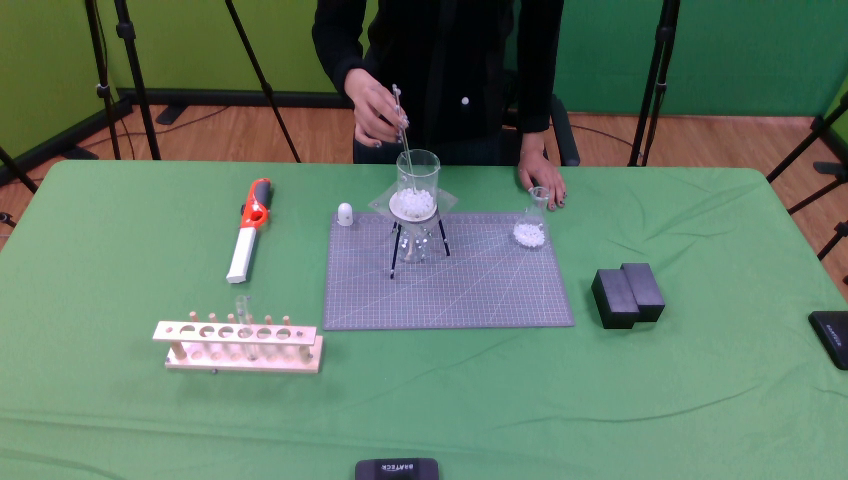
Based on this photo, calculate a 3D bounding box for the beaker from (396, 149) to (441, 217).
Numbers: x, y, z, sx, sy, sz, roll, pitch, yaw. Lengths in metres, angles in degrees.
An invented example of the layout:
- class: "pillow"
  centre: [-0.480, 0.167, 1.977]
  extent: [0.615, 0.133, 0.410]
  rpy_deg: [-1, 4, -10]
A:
- class: "beaker"
  centre: [-0.015, -0.098, 1.053]
  extent: [0.074, 0.101, 0.083]
  rpy_deg: [-31, 55, -30]

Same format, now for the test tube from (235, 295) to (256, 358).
- class: "test tube"
  centre: [-0.274, 0.136, 0.933]
  extent: [0.017, 0.151, 0.017]
  rpy_deg: [4, 46, -4]

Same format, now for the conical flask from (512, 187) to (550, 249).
- class: "conical flask"
  centre: [0.217, -0.048, 1.190]
  extent: [0.075, 0.122, 0.075]
  rpy_deg: [2, 46, -2]

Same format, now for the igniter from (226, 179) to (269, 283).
- class: "igniter"
  centre: [-0.345, -0.027, 1.195]
  extent: [0.057, 0.025, 0.274]
  rpy_deg: [-6, 46, 5]

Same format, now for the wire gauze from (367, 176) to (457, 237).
- class: "wire gauze"
  centre: [-0.020, -0.066, 1.089]
  extent: [0.124, 0.011, 0.121]
  rpy_deg: [27, 47, 22]

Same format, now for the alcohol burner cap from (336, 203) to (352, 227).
- class: "alcohol burner cap"
  centre: [-0.162, -0.053, 1.221]
  extent: [0.034, 0.048, 0.033]
  rpy_deg: [2, 47, -2]

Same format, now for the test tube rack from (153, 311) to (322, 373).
- class: "test tube rack"
  centre: [-0.293, 0.160, 0.978]
  extent: [0.242, 0.085, 0.066]
  rpy_deg: [3, 46, -2]

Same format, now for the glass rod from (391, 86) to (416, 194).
- class: "glass rod"
  centre: [-0.031, -0.154, 0.970]
  extent: [0.008, 0.201, 0.008]
  rpy_deg: [-7, 40, 6]

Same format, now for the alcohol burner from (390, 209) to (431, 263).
- class: "alcohol burner"
  centre: [-0.024, -0.014, 1.144]
  extent: [0.078, 0.119, 0.077]
  rpy_deg: [4, 45, -3]

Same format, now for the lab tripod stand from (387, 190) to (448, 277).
- class: "lab tripod stand"
  centre: [-0.021, -0.018, 1.135]
  extent: [0.148, 0.132, 0.147]
  rpy_deg: [3, 44, -3]
